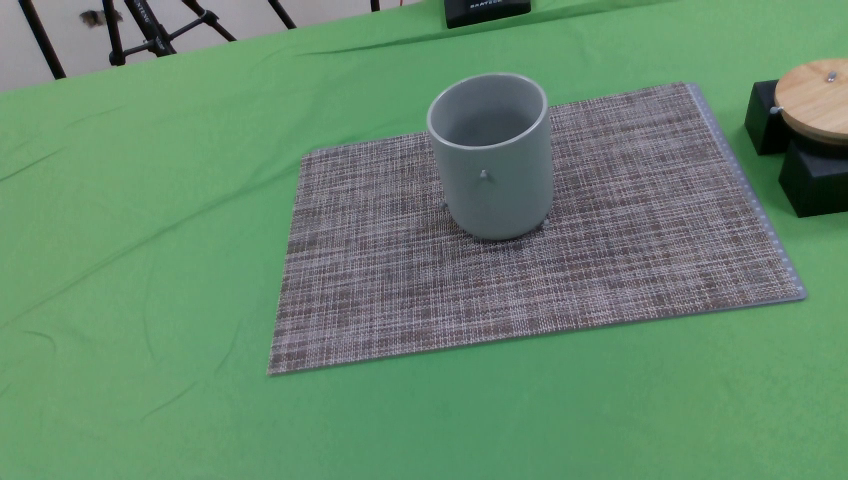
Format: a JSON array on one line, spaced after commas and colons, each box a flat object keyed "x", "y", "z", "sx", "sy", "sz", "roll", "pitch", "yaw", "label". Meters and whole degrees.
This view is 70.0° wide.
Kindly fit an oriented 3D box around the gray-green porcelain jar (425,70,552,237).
[{"x": 0.065, "y": -0.074, "z": 0.561, "sx": 0.106, "sy": 0.128, "sz": 0.105, "roll": -8, "pitch": 48, "yaw": 9, "label": "gray-green porcelain jar"}]

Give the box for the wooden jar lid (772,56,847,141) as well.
[{"x": 0.366, "y": -0.124, "z": 0.533, "sx": 0.108, "sy": 0.021, "sz": 0.107, "roll": -8, "pitch": 50, "yaw": 9, "label": "wooden jar lid"}]
